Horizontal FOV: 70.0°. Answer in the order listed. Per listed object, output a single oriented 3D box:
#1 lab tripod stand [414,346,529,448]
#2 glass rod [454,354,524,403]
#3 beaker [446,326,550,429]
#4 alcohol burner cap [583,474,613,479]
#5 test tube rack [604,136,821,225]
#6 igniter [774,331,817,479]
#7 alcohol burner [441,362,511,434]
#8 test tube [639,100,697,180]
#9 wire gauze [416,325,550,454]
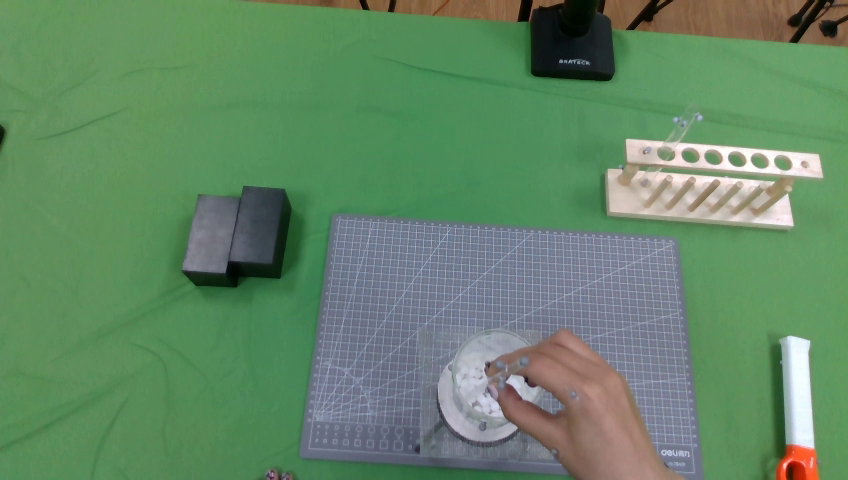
[{"bbox_3d":[0.052,0.168,0.634,0.148,0.132,0.147,0,66,0],"label":"lab tripod stand"},{"bbox_3d":[0.045,0.112,0.475,0.008,0.200,0.008,4,67,-8],"label":"glass rod"},{"bbox_3d":[0.059,0.124,0.528,0.084,0.101,0.073,0,66,-3],"label":"beaker"},{"bbox_3d":[0.190,0.268,0.652,0.034,0.048,0.033,1,66,-1],"label":"alcohol burner cap"},{"bbox_3d":[0.365,-0.074,0.778,0.242,0.086,0.066,4,67,-1],"label":"test tube rack"},{"bbox_3d":[0.420,0.239,0.682,0.057,0.025,0.274,15,67,-7],"label":"igniter"},{"bbox_3d":[0.057,0.165,0.646,0.078,0.120,0.077,2,66,-3],"label":"alcohol burner"},{"bbox_3d":[0.295,-0.117,0.739,0.017,0.151,0.017,1,64,-1],"label":"test tube"},{"bbox_3d":[0.054,0.139,0.574,0.125,0.011,0.120,1,65,0],"label":"wire gauze"}]
